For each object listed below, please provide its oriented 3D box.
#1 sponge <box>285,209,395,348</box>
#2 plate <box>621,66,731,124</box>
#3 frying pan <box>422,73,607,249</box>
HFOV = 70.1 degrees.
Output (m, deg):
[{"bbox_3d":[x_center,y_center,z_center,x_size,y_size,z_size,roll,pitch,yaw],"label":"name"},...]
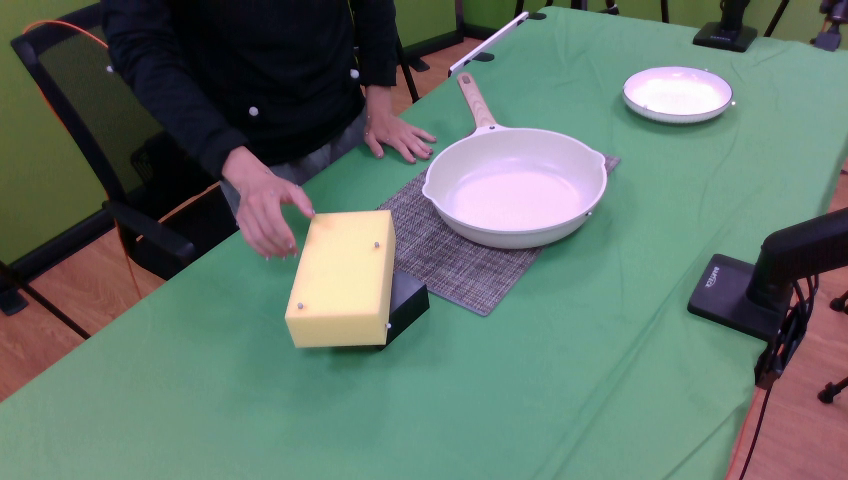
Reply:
[{"bbox_3d":[-0.107,0.047,0.823,0.118,0.061,0.206,-3,41,4],"label":"sponge"},{"bbox_3d":[0.504,-0.288,1.221,0.207,0.039,0.206,-4,41,4],"label":"plate"},{"bbox_3d":[0.130,-0.161,1.069,0.307,0.103,0.484,-10,49,-5],"label":"frying pan"}]
